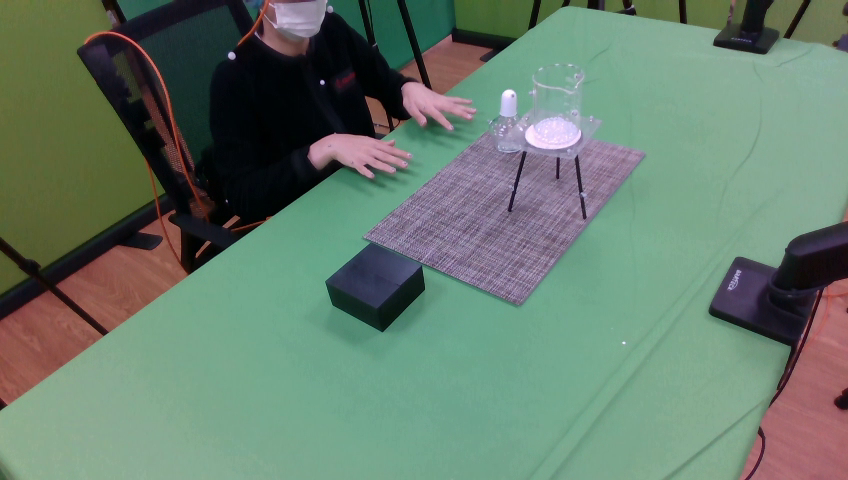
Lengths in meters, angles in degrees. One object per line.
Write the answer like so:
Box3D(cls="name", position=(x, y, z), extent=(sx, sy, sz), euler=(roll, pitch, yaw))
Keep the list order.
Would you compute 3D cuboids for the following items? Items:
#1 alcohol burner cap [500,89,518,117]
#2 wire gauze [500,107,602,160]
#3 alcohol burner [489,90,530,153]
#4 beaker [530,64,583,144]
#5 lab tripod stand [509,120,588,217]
Box3D(cls="alcohol burner cap", position=(0.158, -0.254, 1.114), extent=(0.034, 0.048, 0.033), euler=(-1, 38, 1))
Box3D(cls="wire gauze", position=(0.199, -0.166, 0.945), extent=(0.120, 0.011, 0.125), euler=(17, 50, 28))
Box3D(cls="alcohol burner", position=(0.160, -0.226, 1.136), extent=(0.078, 0.119, 0.077), euler=(-6, 41, 5))
Box3D(cls="beaker", position=(0.201, -0.201, 0.909), extent=(0.074, 0.101, 0.083), euler=(-19, 43, -10))
Box3D(cls="lab tripod stand", position=(0.207, -0.114, 0.983), extent=(0.148, 0.132, 0.147), euler=(-5, 42, 5))
